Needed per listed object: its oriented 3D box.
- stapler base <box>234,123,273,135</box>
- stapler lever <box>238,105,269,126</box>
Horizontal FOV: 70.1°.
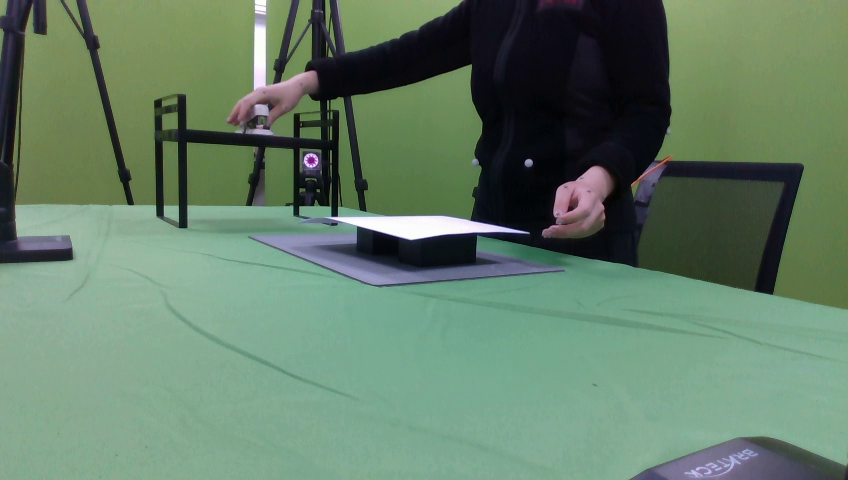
[{"bbox_3d":[-0.344,-0.224,1.222,0.041,0.024,0.130,0,6,-35],"label":"stapler base"},{"bbox_3d":[-0.345,-0.249,1.220,0.027,0.040,0.117,0,6,-35],"label":"stapler lever"}]
